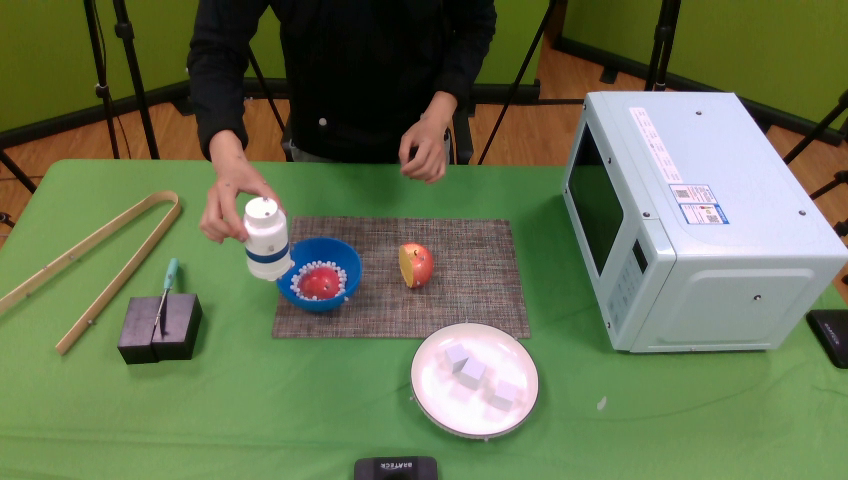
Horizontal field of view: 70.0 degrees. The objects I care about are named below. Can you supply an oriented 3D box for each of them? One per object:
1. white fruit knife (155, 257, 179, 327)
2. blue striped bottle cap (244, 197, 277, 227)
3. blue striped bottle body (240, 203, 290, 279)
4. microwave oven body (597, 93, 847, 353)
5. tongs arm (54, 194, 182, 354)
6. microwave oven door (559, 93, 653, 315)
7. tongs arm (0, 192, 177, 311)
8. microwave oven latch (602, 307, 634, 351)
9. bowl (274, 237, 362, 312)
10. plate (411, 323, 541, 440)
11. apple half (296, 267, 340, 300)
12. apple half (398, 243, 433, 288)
[{"bbox_3d":[-0.440,0.085,1.037,0.016,0.027,0.206,10,26,-19],"label":"white fruit knife"},{"bbox_3d":[-0.228,-0.039,0.845,0.044,0.021,0.044,7,43,-6],"label":"blue striped bottle cap"},{"bbox_3d":[-0.232,-0.004,0.883,0.063,0.121,0.062,4,46,-4],"label":"blue striped bottle body"},{"bbox_3d":[0.475,-0.041,1.109,0.326,0.261,0.438,-1,45,-4],"label":"microwave oven body"},{"bbox_3d":[-0.543,0.048,1.108,0.028,0.028,0.385,11,45,10],"label":"tongs arm"},{"bbox_3d":[0.327,-0.074,1.123,0.039,0.245,0.353,-1,46,-5],"label":"microwave oven door"},{"bbox_3d":[-0.618,0.019,1.124,0.050,0.026,0.384,24,47,16],"label":"tongs arm"},{"bbox_3d":[0.332,0.153,1.044,0.030,0.029,0.078,-1,45,-4],"label":"microwave oven latch"},{"bbox_3d":[-0.185,0.074,1.069,0.151,0.077,0.150,3,46,-3],"label":"bowl"},{"bbox_3d":[0.082,0.228,0.976,0.208,0.039,0.206,2,45,-2],"label":"plate"},{"bbox_3d":[-0.187,0.071,1.067,0.081,0.033,0.081,3,47,-3],"label":"apple half"},{"bbox_3d":[-0.012,0.046,1.115,0.053,0.075,0.080,-11,44,-20],"label":"apple half"}]
